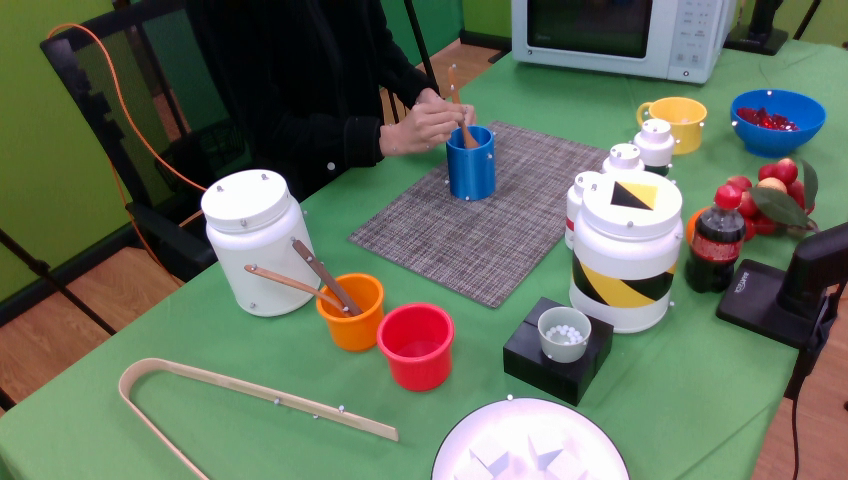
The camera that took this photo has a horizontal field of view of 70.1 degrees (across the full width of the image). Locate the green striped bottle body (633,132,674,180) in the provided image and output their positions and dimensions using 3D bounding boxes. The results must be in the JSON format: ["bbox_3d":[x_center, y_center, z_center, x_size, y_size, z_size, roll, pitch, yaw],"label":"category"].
[{"bbox_3d":[0.376,-0.135,1.001,0.063,0.120,0.063,-5,40,5],"label":"green striped bottle body"}]

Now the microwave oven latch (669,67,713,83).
[{"bbox_3d":[0.556,-0.348,1.261,0.078,0.029,0.030,16,46,27],"label":"microwave oven latch"}]

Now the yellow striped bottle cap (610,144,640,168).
[{"bbox_3d":[0.307,-0.128,0.923,0.044,0.019,0.044,-5,39,5],"label":"yellow striped bottle cap"}]

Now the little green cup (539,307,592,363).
[{"bbox_3d":[0.167,0.114,0.721,0.061,0.039,0.061,-4,43,4],"label":"little green cup"}]

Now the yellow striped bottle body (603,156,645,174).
[{"bbox_3d":[0.313,-0.089,0.956,0.063,0.121,0.062,-4,40,4],"label":"yellow striped bottle body"}]

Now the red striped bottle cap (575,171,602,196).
[{"bbox_3d":[0.242,-0.081,0.876,0.044,0.018,0.044,-5,44,5],"label":"red striped bottle cap"}]

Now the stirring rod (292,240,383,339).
[{"bbox_3d":[-0.118,0.068,0.826,0.176,0.006,0.014,49,59,-4],"label":"stirring rod"}]

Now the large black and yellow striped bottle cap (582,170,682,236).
[{"bbox_3d":[0.252,-0.048,0.735,0.115,0.019,0.114,-3,40,3],"label":"large black and yellow striped bottle cap"}]

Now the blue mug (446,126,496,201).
[{"bbox_3d":[0.080,-0.143,1.064,0.082,0.106,0.115,-11,40,-4],"label":"blue mug"}]

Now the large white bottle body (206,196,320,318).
[{"bbox_3d":[-0.233,0.008,0.877,0.130,0.185,0.130,-4,40,4],"label":"large white bottle body"}]

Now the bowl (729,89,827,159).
[{"bbox_3d":[0.615,-0.197,1.069,0.151,0.077,0.150,-5,40,5],"label":"bowl"}]

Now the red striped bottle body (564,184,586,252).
[{"bbox_3d":[0.247,-0.041,0.910,0.063,0.120,0.062,-3,39,3],"label":"red striped bottle body"}]

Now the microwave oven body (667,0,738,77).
[{"bbox_3d":[0.462,-0.552,1.369,0.439,0.261,0.326,15,45,26],"label":"microwave oven body"}]

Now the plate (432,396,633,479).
[{"bbox_3d":[0.112,0.261,0.634,0.209,0.038,0.208,-5,40,4],"label":"plate"}]

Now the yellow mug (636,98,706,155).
[{"bbox_3d":[0.453,-0.217,1.128,0.100,0.064,0.129,-34,46,-27],"label":"yellow mug"}]

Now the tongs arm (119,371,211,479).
[{"bbox_3d":[-0.257,0.256,0.700,0.384,0.028,0.028,24,55,33],"label":"tongs arm"}]

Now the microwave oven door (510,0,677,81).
[{"bbox_3d":[0.354,-0.478,1.290,0.353,0.245,0.039,15,45,25],"label":"microwave oven door"}]

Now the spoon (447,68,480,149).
[{"bbox_3d":[0.063,-0.189,0.979,0.042,0.195,0.021,-37,38,-19],"label":"spoon"}]

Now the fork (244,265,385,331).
[{"bbox_3d":[-0.142,0.078,0.806,0.209,0.018,0.028,30,32,-23],"label":"fork"}]

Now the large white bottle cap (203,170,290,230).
[{"bbox_3d":[-0.241,-0.057,0.822,0.115,0.018,0.114,-4,40,4],"label":"large white bottle cap"}]

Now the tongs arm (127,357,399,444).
[{"bbox_3d":[-0.213,0.205,0.755,0.382,0.026,0.051,12,46,23],"label":"tongs arm"}]

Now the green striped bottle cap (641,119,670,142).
[{"bbox_3d":[0.371,-0.175,0.968,0.044,0.020,0.044,-5,41,4],"label":"green striped bottle cap"}]

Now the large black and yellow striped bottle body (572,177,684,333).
[{"bbox_3d":[0.262,0.017,0.788,0.131,0.185,0.130,-5,40,4],"label":"large black and yellow striped bottle body"}]
